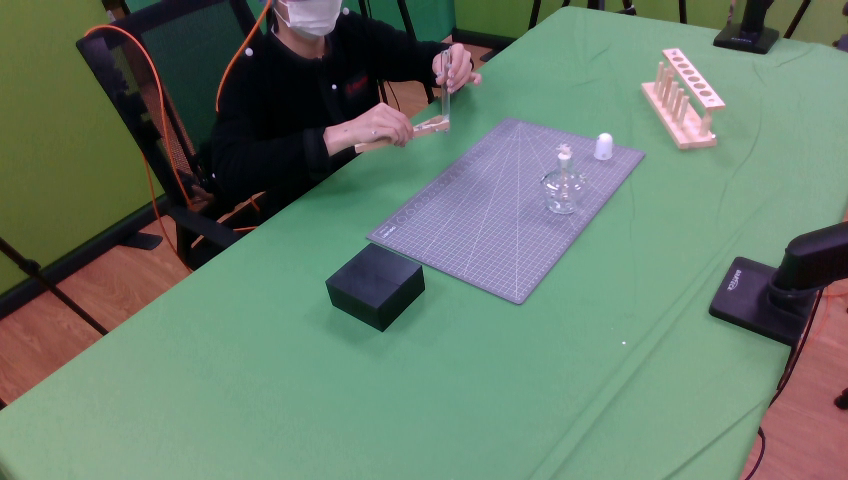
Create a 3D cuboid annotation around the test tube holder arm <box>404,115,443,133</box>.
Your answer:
[{"bbox_3d":[-0.001,-0.202,1.081,0.088,0.015,0.010,-31,44,-30],"label":"test tube holder arm"}]

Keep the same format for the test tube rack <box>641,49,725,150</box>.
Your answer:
[{"bbox_3d":[0.495,-0.279,1.175,0.067,0.085,0.241,-5,41,3],"label":"test tube rack"}]

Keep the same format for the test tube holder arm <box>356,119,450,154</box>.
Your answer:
[{"bbox_3d":[-0.035,-0.183,1.060,0.179,0.015,0.013,-20,38,-19],"label":"test tube holder arm"}]

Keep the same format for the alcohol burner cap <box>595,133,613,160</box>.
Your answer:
[{"bbox_3d":[0.330,-0.172,1.104,0.034,0.048,0.033,-5,41,5],"label":"alcohol burner cap"}]

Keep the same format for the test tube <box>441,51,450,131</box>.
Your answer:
[{"bbox_3d":[0.038,-0.257,1.060,0.017,0.151,0.017,-1,41,1],"label":"test tube"}]

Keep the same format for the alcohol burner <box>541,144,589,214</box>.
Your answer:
[{"bbox_3d":[0.229,-0.102,0.983,0.078,0.119,0.077,-6,41,5],"label":"alcohol burner"}]
